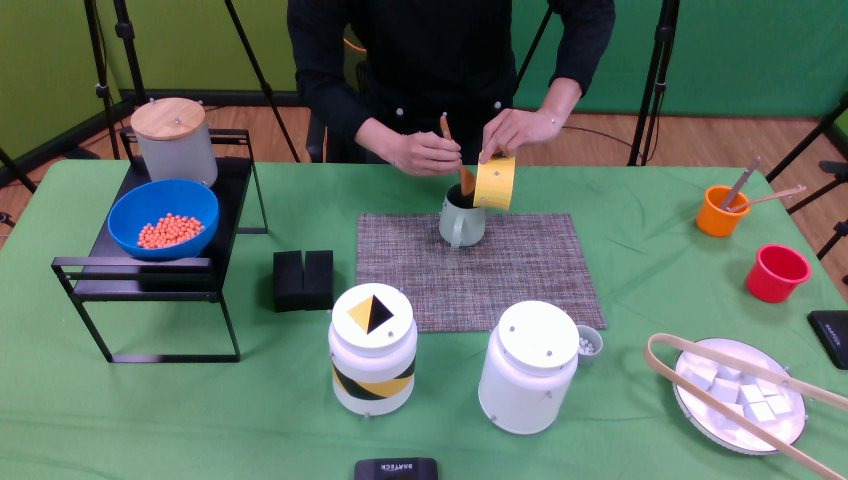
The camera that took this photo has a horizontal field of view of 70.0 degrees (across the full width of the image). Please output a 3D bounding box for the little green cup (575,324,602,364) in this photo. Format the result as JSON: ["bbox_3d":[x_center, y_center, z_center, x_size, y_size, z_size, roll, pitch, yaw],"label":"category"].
[{"bbox_3d":[0.269,0.179,1.036,0.061,0.039,0.061,3,46,-2],"label":"little green cup"}]

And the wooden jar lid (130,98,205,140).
[{"bbox_3d":[-0.393,-0.183,0.934,0.108,0.021,0.107,2,44,-2],"label":"wooden jar lid"}]

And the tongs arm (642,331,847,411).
[{"bbox_3d":[0.546,0.227,0.968,0.384,0.026,0.050,22,52,13],"label":"tongs arm"}]

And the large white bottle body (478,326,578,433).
[{"bbox_3d":[0.156,0.192,0.913,0.131,0.185,0.130,2,46,-2],"label":"large white bottle body"}]

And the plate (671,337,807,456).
[{"bbox_3d":[0.504,0.254,0.984,0.208,0.039,0.206,2,46,-2],"label":"plate"}]

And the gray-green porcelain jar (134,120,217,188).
[{"bbox_3d":[-0.397,-0.141,0.979,0.106,0.127,0.105,2,47,-2],"label":"gray-green porcelain jar"}]

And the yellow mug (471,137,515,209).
[{"bbox_3d":[0.125,-0.122,1.088,0.064,0.131,0.099,8,26,2],"label":"yellow mug"}]

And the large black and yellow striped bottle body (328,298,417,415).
[{"bbox_3d":[-0.078,0.167,0.920,0.131,0.185,0.130,2,46,-2],"label":"large black and yellow striped bottle body"}]

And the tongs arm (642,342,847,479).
[{"bbox_3d":[0.504,0.278,0.918,0.386,0.028,0.028,34,59,22],"label":"tongs arm"}]

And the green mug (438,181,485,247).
[{"bbox_3d":[0.071,-0.039,1.178,0.092,0.105,0.124,12,47,7],"label":"green mug"}]

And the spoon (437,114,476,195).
[{"bbox_3d":[0.056,-0.146,1.057,0.021,0.195,0.041,24,68,41],"label":"spoon"}]

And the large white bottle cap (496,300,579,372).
[{"bbox_3d":[0.160,0.133,0.852,0.115,0.018,0.114,3,46,-3],"label":"large white bottle cap"}]

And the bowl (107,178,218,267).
[{"bbox_3d":[-0.374,-0.014,0.893,0.151,0.077,0.150,2,46,-2],"label":"bowl"}]

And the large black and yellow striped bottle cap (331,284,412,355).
[{"bbox_3d":[-0.073,0.110,0.858,0.115,0.019,0.114,2,46,-2],"label":"large black and yellow striped bottle cap"}]

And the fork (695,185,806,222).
[{"bbox_3d":[0.658,-0.074,1.229,0.207,0.019,0.028,-23,36,37],"label":"fork"}]

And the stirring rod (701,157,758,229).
[{"bbox_3d":[0.634,-0.097,1.257,0.014,0.006,0.176,38,97,29],"label":"stirring rod"}]
